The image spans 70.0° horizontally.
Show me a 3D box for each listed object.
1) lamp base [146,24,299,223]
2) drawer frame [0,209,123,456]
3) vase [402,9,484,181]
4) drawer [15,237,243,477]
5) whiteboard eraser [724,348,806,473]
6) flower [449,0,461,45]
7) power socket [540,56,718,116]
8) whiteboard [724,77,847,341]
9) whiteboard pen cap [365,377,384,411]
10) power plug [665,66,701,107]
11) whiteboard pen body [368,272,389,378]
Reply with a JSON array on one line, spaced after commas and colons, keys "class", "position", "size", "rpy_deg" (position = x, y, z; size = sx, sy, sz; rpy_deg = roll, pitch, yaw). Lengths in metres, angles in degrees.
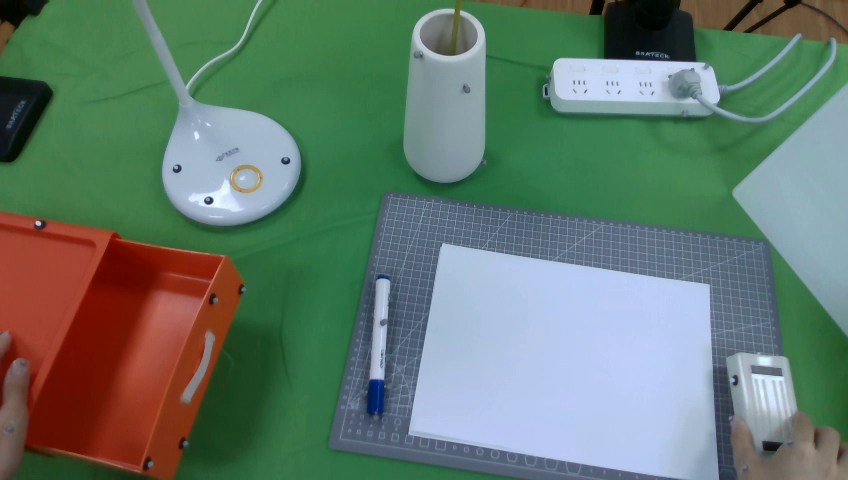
[{"class": "lamp base", "position": [-0.239, -0.134, 0.661], "size": [0.178, 0.182, 0.160], "rpy_deg": [38, 68, 21]}, {"class": "drawer frame", "position": [-0.408, 0.074, 0.556], "size": [0.213, 0.083, 0.200], "rpy_deg": [10, 64, 1]}, {"class": "vase", "position": [0.021, -0.151, 0.663], "size": [0.098, 0.201, 0.097], "rpy_deg": [0, 62, 1]}, {"class": "drawer", "position": [-0.298, 0.092, 0.550], "size": [0.211, 0.074, 0.193], "rpy_deg": [10, 64, 5]}, {"class": "whiteboard eraser", "position": [0.327, 0.164, 0.587], "size": [0.055, 0.042, 0.112], "rpy_deg": [8, 61, -1]}, {"class": "flower", "position": [0.030, -0.205, 0.598], "size": [0.038, 0.365, 0.043], "rpy_deg": [-3, 44, -10]}, {"class": "power socket", "position": [0.267, -0.199, 0.784], "size": [0.227, 0.033, 0.071], "rpy_deg": [2, 63, 0]}, {"class": "whiteboard", "position": [0.512, -0.073, 0.603], "size": [0.144, 0.307, 0.215], "rpy_deg": [-13, 61, -28]}, {"class": "whiteboard pen cap", "position": [-0.049, 0.153, 0.603], "size": [0.018, 0.018, 0.033], "rpy_deg": [1, 64, 1]}, {"class": "power plug", "position": [0.317, -0.183, 0.750], "size": [0.035, 0.053, 0.072], "rpy_deg": [11, 64, 6]}, {"class": "whiteboard pen body", "position": [-0.048, 0.100, 0.627], "size": [0.017, 0.017, 0.139], "rpy_deg": [1, 65, 1]}]
